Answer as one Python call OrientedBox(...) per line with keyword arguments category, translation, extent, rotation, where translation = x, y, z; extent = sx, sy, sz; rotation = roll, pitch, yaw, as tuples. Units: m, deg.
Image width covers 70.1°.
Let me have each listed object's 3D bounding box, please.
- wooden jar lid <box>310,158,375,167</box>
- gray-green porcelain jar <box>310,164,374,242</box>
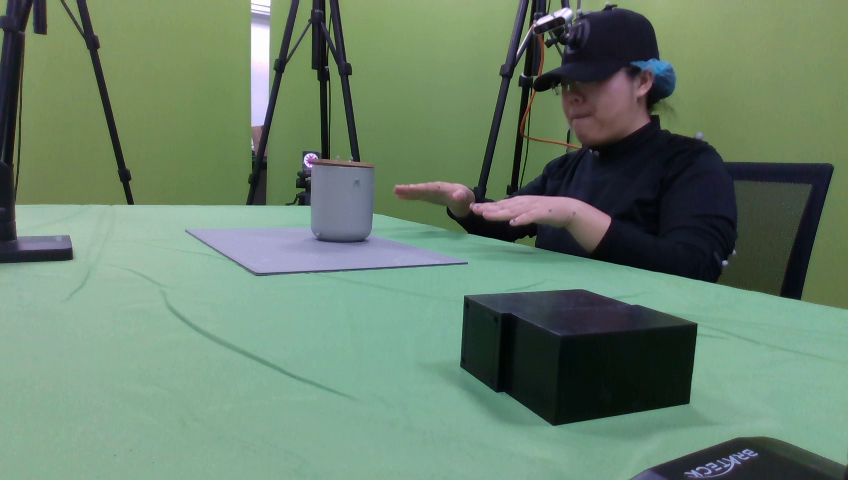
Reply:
OrientedBox(category="wooden jar lid", translation=(-0.136, -0.125, 1.015), extent=(0.108, 0.020, 0.108), rotation=(5, 8, 0))
OrientedBox(category="gray-green porcelain jar", translation=(-0.139, -0.063, 1.023), extent=(0.106, 0.126, 0.106), rotation=(3, 8, 0))
